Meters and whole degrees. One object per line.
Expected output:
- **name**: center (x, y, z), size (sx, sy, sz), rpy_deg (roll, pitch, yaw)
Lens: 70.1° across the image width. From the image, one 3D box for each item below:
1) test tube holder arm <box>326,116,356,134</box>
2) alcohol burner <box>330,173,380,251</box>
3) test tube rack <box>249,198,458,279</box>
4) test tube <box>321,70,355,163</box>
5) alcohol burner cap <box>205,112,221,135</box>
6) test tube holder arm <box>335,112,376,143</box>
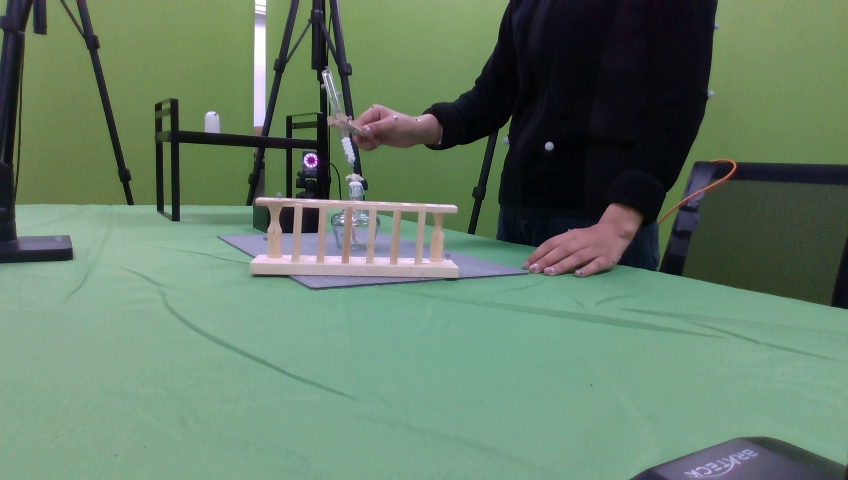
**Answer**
- **test tube holder arm**: center (-0.128, -0.182, 0.957), size (0.010, 0.015, 0.088), rpy_deg (-18, -6, 21)
- **alcohol burner**: center (-0.107, -0.044, 0.938), size (0.078, 0.119, 0.078), rpy_deg (1, 6, 0)
- **test tube rack**: center (-0.082, -0.002, 0.732), size (0.243, 0.085, 0.066), rpy_deg (2, 8, -8)
- **test tube**: center (-0.132, -0.191, 0.935), size (0.017, 0.150, 0.017), rpy_deg (-16, -4, -1)
- **alcohol burner cap**: center (-0.443, -0.245, 1.270), size (0.034, 0.048, 0.034), rpy_deg (3, 8, 0)
- **test tube holder arm**: center (-0.110, -0.183, 0.999), size (0.013, 0.015, 0.179), rpy_deg (-17, -5, 13)
